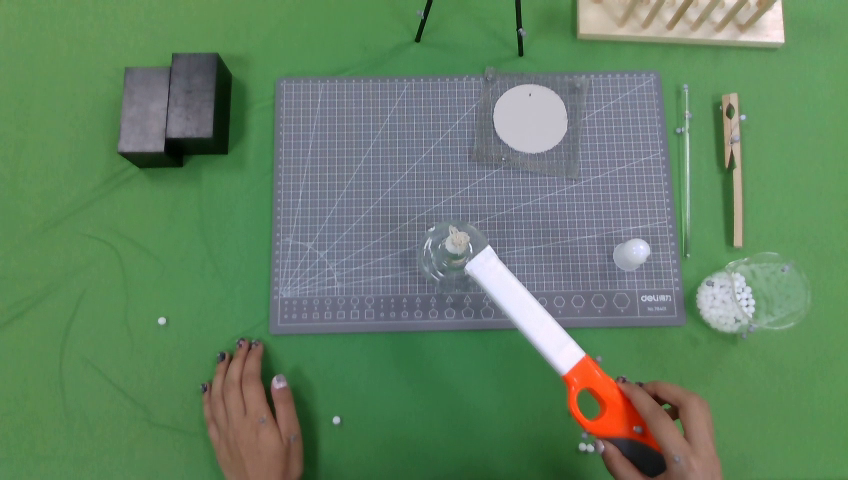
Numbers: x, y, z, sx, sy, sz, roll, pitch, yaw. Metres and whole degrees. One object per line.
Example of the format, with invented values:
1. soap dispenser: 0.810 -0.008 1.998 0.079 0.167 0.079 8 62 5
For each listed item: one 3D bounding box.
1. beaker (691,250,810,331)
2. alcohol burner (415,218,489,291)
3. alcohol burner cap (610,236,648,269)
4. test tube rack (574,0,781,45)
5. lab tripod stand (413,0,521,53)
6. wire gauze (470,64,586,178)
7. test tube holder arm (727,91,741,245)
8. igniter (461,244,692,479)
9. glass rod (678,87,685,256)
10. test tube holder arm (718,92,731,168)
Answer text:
1. beaker: 0.323 0.054 0.618 0.084 0.100 0.074 30 79 7
2. alcohol burner: 0.029 0.011 0.614 0.078 0.119 0.077 0 77 2
3. alcohol burner cap: 0.223 0.011 0.652 0.034 0.048 0.033 0 78 0
4. test tube rack: 0.302 -0.279 0.691 0.242 0.085 0.066 2 78 0
5. lab tripod stand: 0.056 -0.279 0.665 0.148 0.132 0.148 0 80 0
6. wire gauze: 0.121 -0.140 0.699 0.125 0.011 0.121 10 80 1
7. test tube holder arm: 0.350 -0.082 0.685 0.013 0.015 0.177 -5 78 33
8. igniter: 0.134 0.117 0.529 0.057 0.025 0.276 -40 85 -13
9. glass rod: 0.293 -0.080 0.690 0.008 0.008 0.199 4 81 0
10. test tube holder arm: 0.346 -0.126 0.696 0.010 0.015 0.087 -5 78 33
